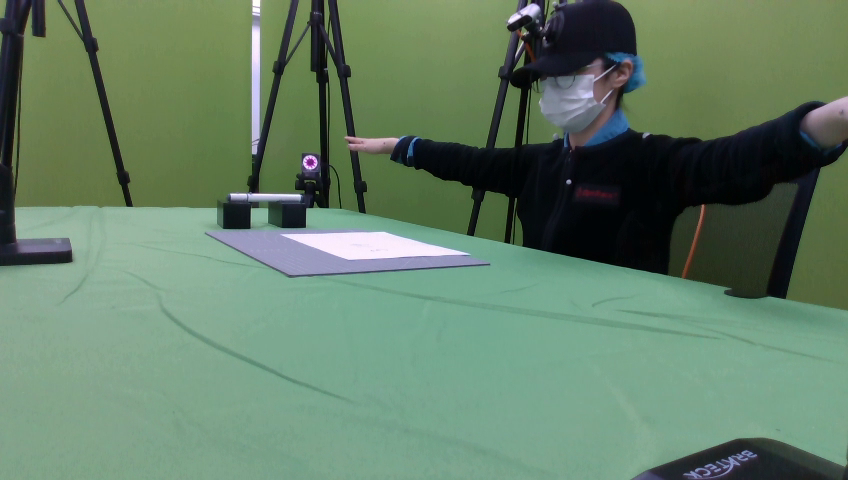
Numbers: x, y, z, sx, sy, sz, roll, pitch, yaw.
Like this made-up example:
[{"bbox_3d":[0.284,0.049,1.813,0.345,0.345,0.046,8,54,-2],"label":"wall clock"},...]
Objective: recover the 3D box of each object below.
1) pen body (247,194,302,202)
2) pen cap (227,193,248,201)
[{"bbox_3d":[-0.321,-0.087,1.244,0.145,0.017,0.017,-3,9,-33],"label":"pen body"},{"bbox_3d":[-0.373,-0.085,1.209,0.039,0.017,0.017,-1,8,-34],"label":"pen cap"}]
